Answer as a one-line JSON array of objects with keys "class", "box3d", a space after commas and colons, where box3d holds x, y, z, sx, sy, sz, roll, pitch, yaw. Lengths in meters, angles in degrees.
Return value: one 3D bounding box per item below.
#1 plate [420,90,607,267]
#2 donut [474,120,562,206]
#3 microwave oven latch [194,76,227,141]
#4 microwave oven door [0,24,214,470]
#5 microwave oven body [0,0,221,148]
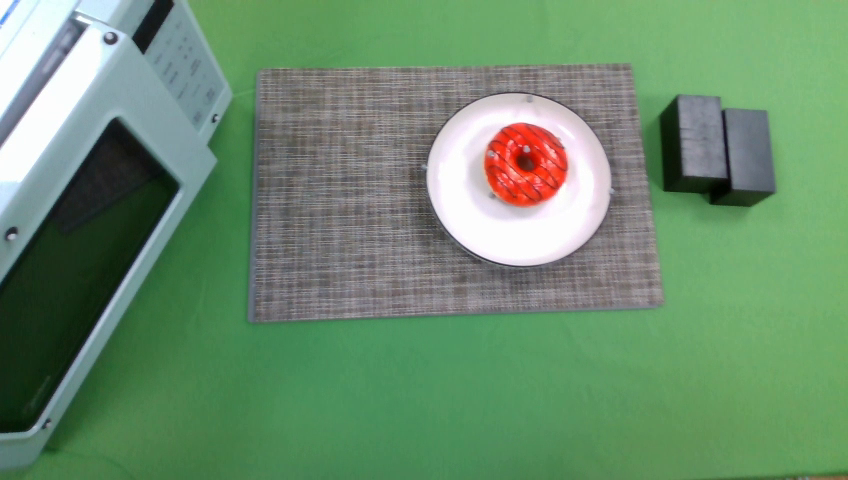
[{"class": "plate", "box3d": [0.099, -0.068, 0.683, 0.209, 0.038, 0.208, 1, 75, -3]}, {"class": "donut", "box3d": [0.105, -0.085, 0.677, 0.099, 0.048, 0.098, 1, 77, -5]}, {"class": "microwave oven latch", "box3d": [-0.246, -0.145, 0.668, 0.030, 0.029, 0.079, 22, 76, 2]}, {"class": "microwave oven door", "box3d": [-0.315, 0.027, 0.514, 0.039, 0.245, 0.354, 25, 75, 4]}, {"class": "microwave oven body", "box3d": [-0.445, -0.067, 0.536, 0.326, 0.261, 0.440, 22, 76, 2]}]
